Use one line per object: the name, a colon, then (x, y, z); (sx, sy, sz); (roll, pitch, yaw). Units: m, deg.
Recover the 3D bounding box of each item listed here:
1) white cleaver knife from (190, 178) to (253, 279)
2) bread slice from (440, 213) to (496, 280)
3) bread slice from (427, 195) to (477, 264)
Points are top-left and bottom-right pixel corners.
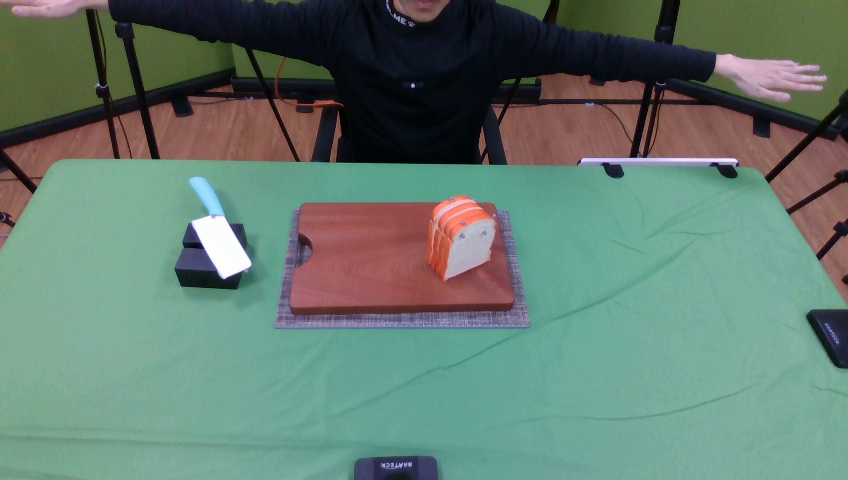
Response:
white cleaver knife: (-0.397, -0.031, 1.137); (0.066, 0.021, 0.284); (-20, 49, -24)
bread slice: (0.078, 0.008, 1.077); (0.107, 0.135, 0.018); (-24, 55, -21)
bread slice: (0.052, -0.024, 1.107); (0.105, 0.132, 0.019); (-22, 46, -25)
